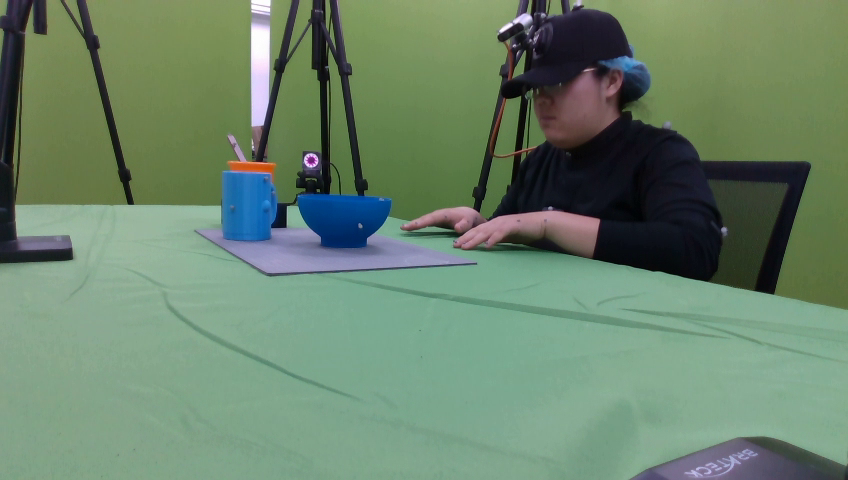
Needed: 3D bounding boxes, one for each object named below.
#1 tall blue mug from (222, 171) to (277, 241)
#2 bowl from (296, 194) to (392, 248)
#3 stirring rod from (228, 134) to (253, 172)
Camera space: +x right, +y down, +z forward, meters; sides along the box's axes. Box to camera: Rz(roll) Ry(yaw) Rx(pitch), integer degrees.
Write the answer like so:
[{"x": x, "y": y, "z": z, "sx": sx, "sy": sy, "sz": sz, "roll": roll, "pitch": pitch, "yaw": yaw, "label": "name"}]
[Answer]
[{"x": -0.290, "y": -0.059, "z": 1.003, "sx": 0.078, "sy": 0.108, "sz": 0.107, "roll": 1, "pitch": 7, "yaw": -6, "label": "tall blue mug"}, {"x": -0.128, "y": -0.030, "z": 0.964, "sx": 0.151, "sy": 0.077, "sz": 0.151, "roll": 2, "pitch": 7, "yaw": 0, "label": "bowl"}, {"x": -0.353, "y": -0.148, "z": 1.197, "sx": 0.014, "sy": 0.006, "sz": 0.175, "roll": -3, "pitch": 52, "yaw": -46, "label": "stirring rod"}]
